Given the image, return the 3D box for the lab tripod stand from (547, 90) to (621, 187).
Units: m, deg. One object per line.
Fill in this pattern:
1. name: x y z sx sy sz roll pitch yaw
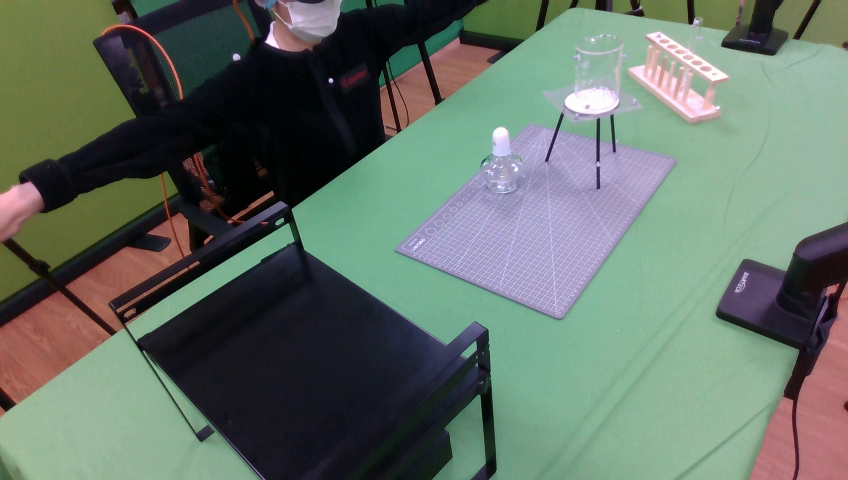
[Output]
1. lab tripod stand: 0.289 -0.184 1.062 0.148 0.132 0.147 -6 41 6

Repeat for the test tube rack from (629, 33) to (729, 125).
1. test tube rack: 0.516 -0.337 1.247 0.067 0.085 0.240 -14 41 -7

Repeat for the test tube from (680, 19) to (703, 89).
1. test tube: 0.531 -0.367 1.203 0.017 0.151 0.017 -4 46 4

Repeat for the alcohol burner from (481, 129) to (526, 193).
1. alcohol burner: 0.138 -0.142 1.052 0.078 0.119 0.077 -5 42 5

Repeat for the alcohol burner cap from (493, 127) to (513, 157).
1. alcohol burner cap: 0.132 -0.169 1.030 0.034 0.048 0.033 -7 36 5

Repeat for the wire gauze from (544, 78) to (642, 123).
1. wire gauze: 0.282 -0.234 1.021 0.125 0.011 0.120 -17 38 -4

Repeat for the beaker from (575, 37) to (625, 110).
1. beaker: 0.283 -0.271 0.988 0.074 0.101 0.083 -10 39 1
